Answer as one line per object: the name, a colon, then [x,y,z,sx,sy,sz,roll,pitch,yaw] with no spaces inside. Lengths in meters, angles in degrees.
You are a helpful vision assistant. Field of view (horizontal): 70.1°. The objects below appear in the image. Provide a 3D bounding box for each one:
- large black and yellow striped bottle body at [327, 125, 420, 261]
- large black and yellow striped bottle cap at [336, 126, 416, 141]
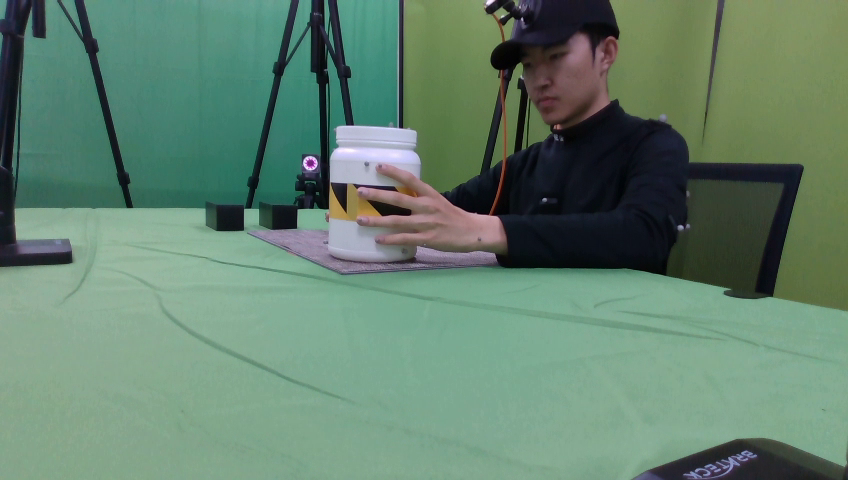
large black and yellow striped bottle body: [-0.072,-0.069,0.872,0.131,0.184,0.130,2,7,0]
large black and yellow striped bottle cap: [-0.068,-0.150,0.860,0.115,0.019,0.115,1,6,0]
